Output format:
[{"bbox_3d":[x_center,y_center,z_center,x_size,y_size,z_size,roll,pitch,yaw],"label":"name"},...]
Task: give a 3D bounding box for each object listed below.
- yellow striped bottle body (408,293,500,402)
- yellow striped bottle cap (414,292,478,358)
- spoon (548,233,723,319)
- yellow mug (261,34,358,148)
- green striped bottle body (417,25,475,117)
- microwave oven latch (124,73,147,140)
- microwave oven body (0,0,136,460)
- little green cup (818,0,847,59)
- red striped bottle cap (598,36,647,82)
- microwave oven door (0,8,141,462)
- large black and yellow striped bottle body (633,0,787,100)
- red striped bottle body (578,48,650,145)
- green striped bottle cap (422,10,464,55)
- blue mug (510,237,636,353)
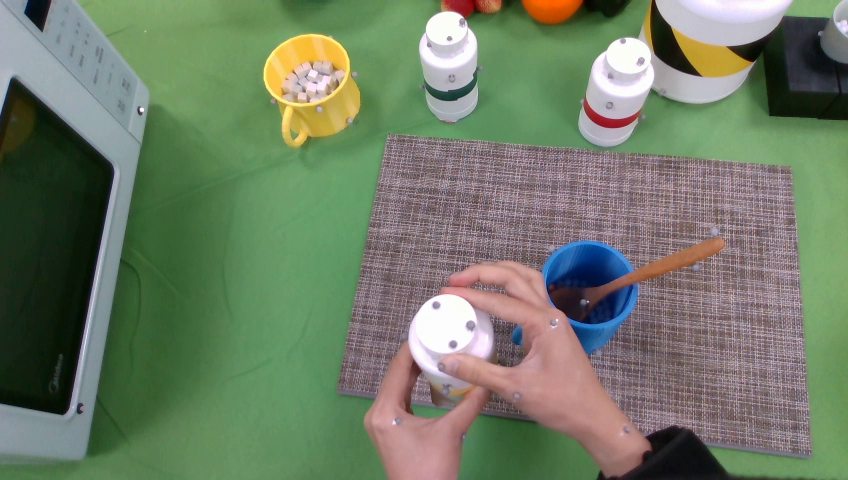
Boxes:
[{"bbox_3d":[0.024,0.082,0.468,0.063,0.121,0.062,-4,63,8],"label":"yellow striped bottle body"},{"bbox_3d":[0.015,0.059,0.422,0.044,0.019,0.044,-4,63,8],"label":"yellow striped bottle cap"},{"bbox_3d":[0.170,0.036,0.527,0.022,0.194,0.041,7,64,-30],"label":"spoon"},{"bbox_3d":[-0.138,-0.168,0.709,0.099,0.064,0.130,15,71,11],"label":"yellow mug"},{"bbox_3d":[0.026,-0.195,0.675,0.063,0.120,0.062,-2,68,4],"label":"green striped bottle body"},{"bbox_3d":[-0.351,-0.158,0.720,0.030,0.030,0.078,-2,69,4],"label":"microwave oven latch"},{"bbox_3d":[-0.504,-0.023,0.576,0.326,0.262,0.438,-3,69,4],"label":"microwave oven body"},{"bbox_3d":[0.451,-0.222,0.636,0.061,0.039,0.061,-1,66,2],"label":"little green cup"},{"bbox_3d":[0.196,-0.179,0.596,0.044,0.018,0.044,0,67,1],"label":"red striped bottle cap"},{"bbox_3d":[-0.358,0.007,0.545,0.039,0.245,0.353,-3,68,5],"label":"microwave oven door"},{"bbox_3d":[0.302,-0.251,0.637,0.130,0.185,0.130,-2,68,5],"label":"large black and yellow striped bottle body"},{"bbox_3d":[0.202,-0.158,0.644,0.063,0.120,0.062,-3,66,7],"label":"red striped bottle body"},{"bbox_3d":[0.020,-0.215,0.627,0.044,0.020,0.044,-1,68,3],"label":"green striped bottle cap"},{"bbox_3d":[0.132,0.063,0.567,0.116,0.106,0.081,-29,68,-6],"label":"blue mug"}]
